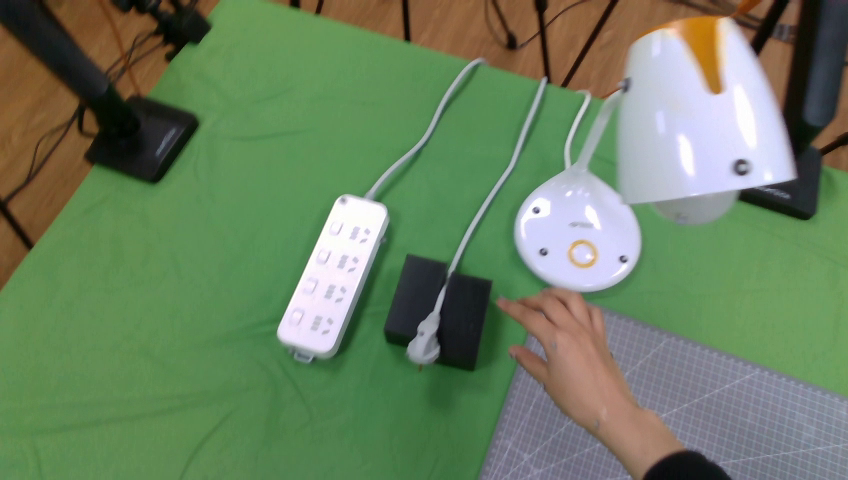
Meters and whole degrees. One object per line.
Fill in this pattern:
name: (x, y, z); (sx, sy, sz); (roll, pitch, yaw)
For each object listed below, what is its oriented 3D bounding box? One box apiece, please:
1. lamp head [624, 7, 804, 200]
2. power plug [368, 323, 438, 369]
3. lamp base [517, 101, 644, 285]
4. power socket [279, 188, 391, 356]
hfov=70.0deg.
lamp head: (0.189, -0.092, 0.416); (0.112, 0.112, 0.123); (-8, 89, -4)
power plug: (-0.021, 0.115, 0.657); (0.072, 0.035, 0.053); (0, 109, 5)
lamp base: (0.197, -0.061, 0.709); (0.161, 0.181, 0.177); (-6, 62, -2)
power socket: (-0.106, 0.033, 0.747); (0.072, 0.033, 0.225); (18, 66, 7)
